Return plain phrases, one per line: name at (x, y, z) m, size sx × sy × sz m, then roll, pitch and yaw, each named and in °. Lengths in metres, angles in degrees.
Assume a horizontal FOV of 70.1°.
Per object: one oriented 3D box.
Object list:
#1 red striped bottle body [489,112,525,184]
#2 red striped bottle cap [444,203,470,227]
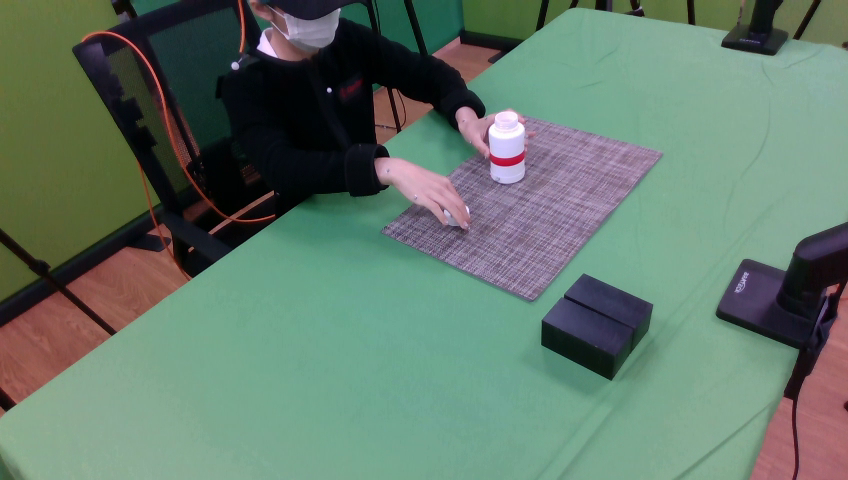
red striped bottle body at (0.147, -0.163, 1.063) m, size 0.063 × 0.120 × 0.062 m, roll -5°, pitch 39°, yaw 4°
red striped bottle cap at (0.056, -0.042, 1.016) m, size 0.044 × 0.018 × 0.044 m, roll -3°, pitch 42°, yaw 4°
